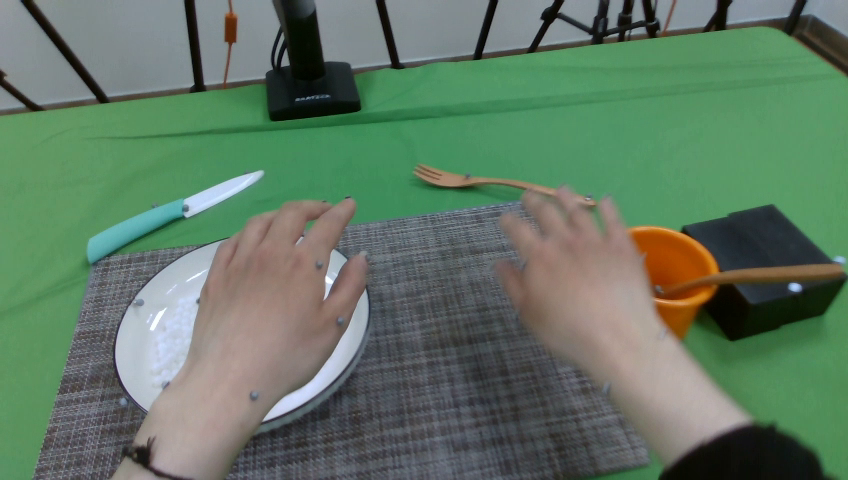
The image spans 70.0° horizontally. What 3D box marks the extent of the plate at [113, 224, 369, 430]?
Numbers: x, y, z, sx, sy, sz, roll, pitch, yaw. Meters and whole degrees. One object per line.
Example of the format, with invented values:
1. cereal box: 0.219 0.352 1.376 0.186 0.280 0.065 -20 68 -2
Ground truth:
1. plate: -0.149 0.069 0.516 0.209 0.038 0.207 0 45 1

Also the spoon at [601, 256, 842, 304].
1. spoon: 0.221 0.030 0.479 0.041 0.193 0.022 -38 100 -33

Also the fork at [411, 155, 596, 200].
1. fork: 0.085 -0.068 0.670 0.206 0.019 0.028 11 41 13

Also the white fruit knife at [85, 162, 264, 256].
1. white fruit knife: -0.262 -0.041 0.651 0.207 0.016 0.027 -32 76 -32
